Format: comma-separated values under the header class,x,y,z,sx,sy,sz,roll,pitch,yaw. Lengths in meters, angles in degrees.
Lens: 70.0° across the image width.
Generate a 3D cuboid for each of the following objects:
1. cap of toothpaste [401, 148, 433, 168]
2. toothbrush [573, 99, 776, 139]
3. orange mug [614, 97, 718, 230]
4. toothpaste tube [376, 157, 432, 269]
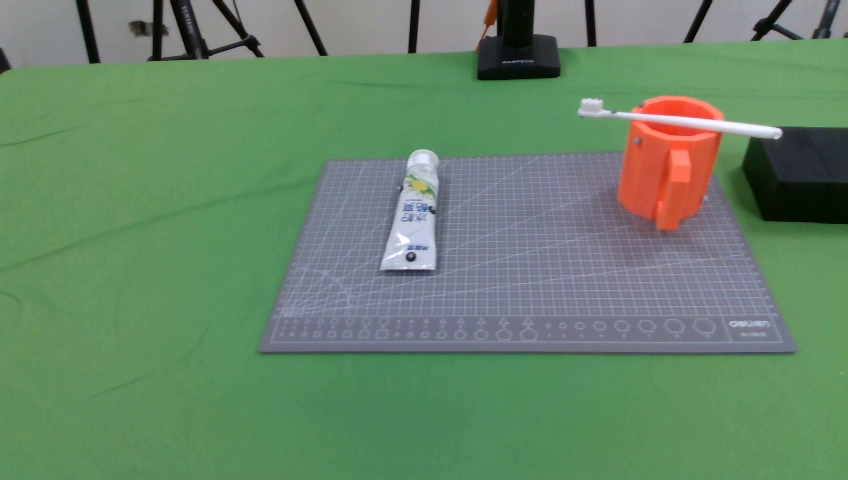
class,x,y,z,sx,sy,sz,roll,pitch,yaw
cap of toothpaste,-0.008,-0.089,0.690,0.037,0.038,0.011,2,49,7
toothbrush,0.233,-0.114,0.573,0.181,0.017,0.014,12,36,19
orange mug,0.240,-0.072,0.604,0.083,0.102,0.125,5,38,12
toothpaste tube,-0.015,-0.032,0.639,0.055,0.035,0.163,-4,46,8
